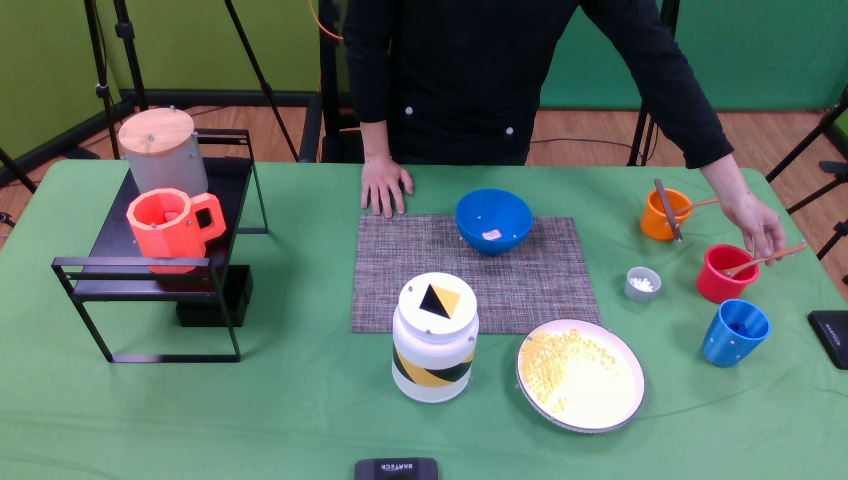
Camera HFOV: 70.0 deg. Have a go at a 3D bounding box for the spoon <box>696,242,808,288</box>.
[{"bbox_3d":[0.602,0.045,1.116,0.194,0.022,0.041,-29,35,30],"label":"spoon"}]

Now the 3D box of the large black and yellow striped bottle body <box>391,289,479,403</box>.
[{"bbox_3d":[0.015,0.153,0.937,0.131,0.185,0.130,2,46,-2],"label":"large black and yellow striped bottle body"}]

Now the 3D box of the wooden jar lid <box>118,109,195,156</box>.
[{"bbox_3d":[-0.400,-0.159,0.910,0.108,0.021,0.107,2,47,-2],"label":"wooden jar lid"}]

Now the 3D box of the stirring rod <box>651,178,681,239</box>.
[{"bbox_3d":[0.480,-0.065,1.204,0.014,0.006,0.175,3,46,-3],"label":"stirring rod"}]

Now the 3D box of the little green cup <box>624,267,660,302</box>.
[{"bbox_3d":[0.405,0.084,1.135,0.061,0.039,0.061,3,46,-3],"label":"little green cup"}]

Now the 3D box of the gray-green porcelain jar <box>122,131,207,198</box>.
[{"bbox_3d":[-0.404,-0.115,0.955,0.106,0.127,0.105,3,46,-3],"label":"gray-green porcelain jar"}]

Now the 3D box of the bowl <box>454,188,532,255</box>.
[{"bbox_3d":[0.131,-0.025,1.187,0.151,0.077,0.150,3,45,-2],"label":"bowl"}]

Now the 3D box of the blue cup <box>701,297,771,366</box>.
[{"bbox_3d":[0.519,0.162,1.025,0.093,0.101,0.092,3,45,-3],"label":"blue cup"}]

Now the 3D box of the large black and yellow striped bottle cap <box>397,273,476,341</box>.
[{"bbox_3d":[0.019,0.094,0.878,0.115,0.019,0.114,3,46,-3],"label":"large black and yellow striped bottle cap"}]

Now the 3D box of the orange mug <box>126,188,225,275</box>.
[{"bbox_3d":[-0.357,-0.020,0.885,0.126,0.101,0.083,-29,54,-23],"label":"orange mug"}]

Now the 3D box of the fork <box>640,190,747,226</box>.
[{"bbox_3d":[0.533,-0.064,1.211,0.207,0.019,0.028,-23,28,39],"label":"fork"}]

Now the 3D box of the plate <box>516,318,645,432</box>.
[{"bbox_3d":[0.253,0.221,0.992,0.209,0.038,0.208,2,46,-2],"label":"plate"}]
